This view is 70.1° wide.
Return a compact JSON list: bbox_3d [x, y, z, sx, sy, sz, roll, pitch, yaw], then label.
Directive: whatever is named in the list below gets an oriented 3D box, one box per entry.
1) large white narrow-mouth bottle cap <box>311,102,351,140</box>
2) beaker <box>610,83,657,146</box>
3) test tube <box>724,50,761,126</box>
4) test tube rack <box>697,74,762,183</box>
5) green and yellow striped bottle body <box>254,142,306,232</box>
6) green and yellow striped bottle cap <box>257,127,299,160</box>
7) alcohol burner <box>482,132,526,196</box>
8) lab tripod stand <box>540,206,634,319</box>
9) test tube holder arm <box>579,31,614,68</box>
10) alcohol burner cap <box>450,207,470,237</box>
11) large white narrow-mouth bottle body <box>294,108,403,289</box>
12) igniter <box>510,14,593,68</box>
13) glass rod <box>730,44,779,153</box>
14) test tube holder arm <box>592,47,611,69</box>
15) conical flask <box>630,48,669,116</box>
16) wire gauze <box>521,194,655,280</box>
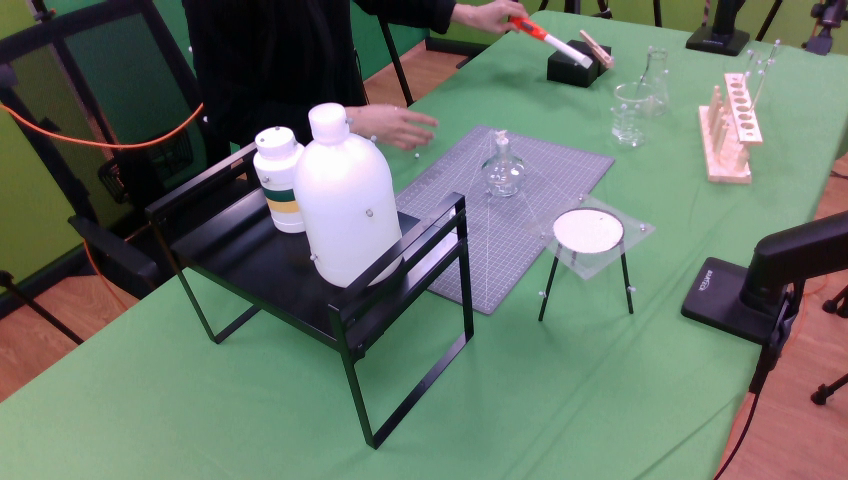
[{"bbox_3d":[-0.089,-0.114,0.579,0.038,0.024,0.037,-3,40,3],"label":"large white narrow-mouth bottle cap"},{"bbox_3d":[0.388,-0.235,1.138,0.074,0.101,0.083,-31,45,-26],"label":"beaker"},{"bbox_3d":[0.570,-0.269,1.086,0.017,0.151,0.017,-1,46,1],"label":"test tube"},{"bbox_3d":[0.547,-0.208,1.095,0.066,0.085,0.242,5,42,15],"label":"test tube rack"},{"bbox_3d":[-0.165,-0.073,0.732,0.063,0.120,0.063,-4,41,4],"label":"green and yellow striped bottle body"},{"bbox_3d":[-0.169,-0.112,0.698,0.045,0.020,0.045,-5,40,5],"label":"green and yellow striped bottle cap"},{"bbox_3d":[0.137,-0.136,1.042,0.078,0.119,0.077,-4,43,4],"label":"alcohol burner"},{"bbox_3d":[0.218,0.034,0.821,0.148,0.132,0.147,-4,42,4],"label":"lab tripod stand"},{"bbox_3d":[0.384,-0.428,1.351,0.013,0.015,0.177,-10,41,-4],"label":"test tube holder arm"},{"bbox_3d":[0.057,-0.032,0.987,0.034,0.048,0.033,-4,41,4],"label":"alcohol burner cap"},{"bbox_3d":[-0.082,-0.047,0.634,0.102,0.195,0.101,-4,40,3],"label":"large white narrow-mouth bottle body"},{"bbox_3d":[0.269,-0.439,1.319,0.058,0.025,0.274,19,24,-42],"label":"igniter"},{"bbox_3d":[0.555,-0.233,1.020,0.008,0.200,0.008,2,40,-1],"label":"glass rod"},{"bbox_3d":[0.386,-0.398,1.317,0.010,0.015,0.087,-10,41,-3],"label":"test tube holder arm"},{"bbox_3d":[0.456,-0.317,1.205,0.075,0.122,0.075,-4,41,4],"label":"conical flask"},{"bbox_3d":[0.207,-0.012,0.772,0.122,0.011,0.124,-28,44,-20],"label":"wire gauze"}]
